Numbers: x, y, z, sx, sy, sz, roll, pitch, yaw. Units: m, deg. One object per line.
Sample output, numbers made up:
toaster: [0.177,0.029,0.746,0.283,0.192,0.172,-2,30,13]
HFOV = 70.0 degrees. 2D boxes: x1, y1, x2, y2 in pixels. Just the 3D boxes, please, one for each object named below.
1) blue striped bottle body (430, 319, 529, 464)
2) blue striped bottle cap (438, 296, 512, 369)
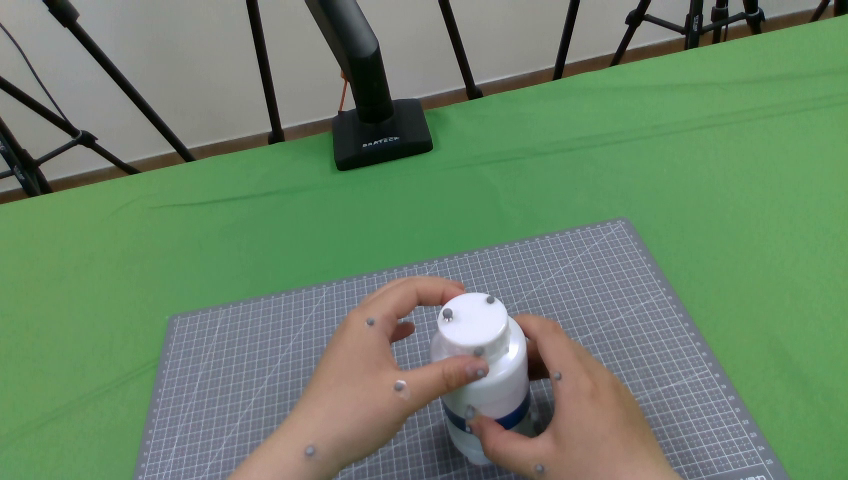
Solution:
blue striped bottle body: [0.039,0.094,0.405,0.063,0.122,0.062,-5,43,5]
blue striped bottle cap: [0.031,0.056,0.370,0.044,0.021,0.044,-8,38,7]
